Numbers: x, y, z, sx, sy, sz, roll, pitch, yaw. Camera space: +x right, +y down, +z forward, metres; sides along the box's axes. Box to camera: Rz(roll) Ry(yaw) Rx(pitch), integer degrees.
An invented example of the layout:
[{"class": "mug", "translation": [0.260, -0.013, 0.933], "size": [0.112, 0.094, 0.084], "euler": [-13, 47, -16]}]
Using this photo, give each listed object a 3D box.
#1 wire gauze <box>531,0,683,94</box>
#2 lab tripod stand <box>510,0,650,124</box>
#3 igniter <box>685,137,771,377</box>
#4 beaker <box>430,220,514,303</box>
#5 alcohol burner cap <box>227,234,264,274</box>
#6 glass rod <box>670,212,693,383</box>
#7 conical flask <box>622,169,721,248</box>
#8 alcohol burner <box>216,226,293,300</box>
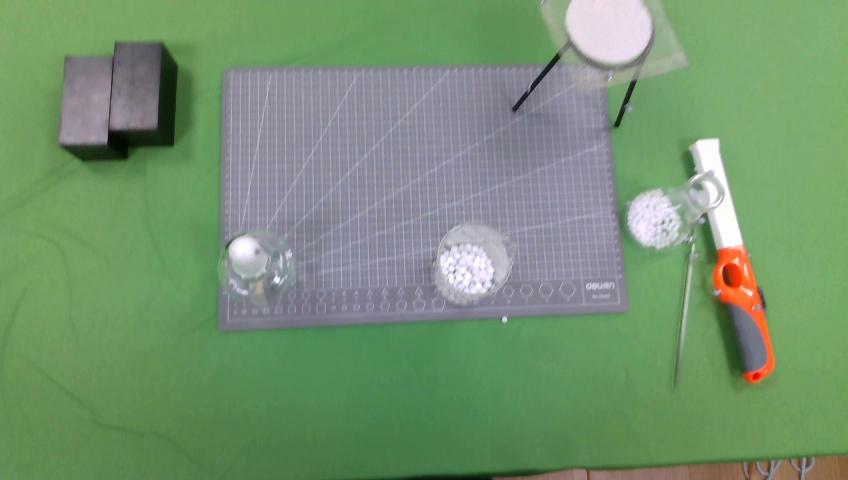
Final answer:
[{"class": "wire gauze", "translation": [0.181, -0.212, 0.601], "size": [0.125, 0.011, 0.121], "euler": [-18, 82, -7]}, {"class": "lab tripod stand", "translation": [0.175, -0.195, 0.666], "size": [0.148, 0.132, 0.148], "euler": [1, 80, -5]}, {"class": "igniter", "translation": [0.346, 0.015, 0.691], "size": [0.057, 0.025, 0.275], "euler": [-6, 79, -16]}, {"class": "beaker", "translation": [0.046, 0.025, 0.629], "size": [0.084, 0.100, 0.073], "euler": [-21, 80, -8]}, {"class": "alcohol burner cap", "translation": [-0.170, 0.010, 0.573], "size": [0.034, 0.048, 0.033], "euler": [3, 70, -9]}, {"class": "glass rod", "translation": [0.292, 0.062, 0.688], "size": [0.008, 0.008, 0.199], "euler": [12, 78, -2]}, {"class": "conical flask", "translation": [0.269, -0.038, 0.648], "size": [0.075, 0.122, 0.075], "euler": [1, 78, -3]}, {"class": "alcohol burner", "translation": [-0.172, 0.020, 0.607], "size": [0.078, 0.119, 0.077], "euler": [1, 77, -5]}]
